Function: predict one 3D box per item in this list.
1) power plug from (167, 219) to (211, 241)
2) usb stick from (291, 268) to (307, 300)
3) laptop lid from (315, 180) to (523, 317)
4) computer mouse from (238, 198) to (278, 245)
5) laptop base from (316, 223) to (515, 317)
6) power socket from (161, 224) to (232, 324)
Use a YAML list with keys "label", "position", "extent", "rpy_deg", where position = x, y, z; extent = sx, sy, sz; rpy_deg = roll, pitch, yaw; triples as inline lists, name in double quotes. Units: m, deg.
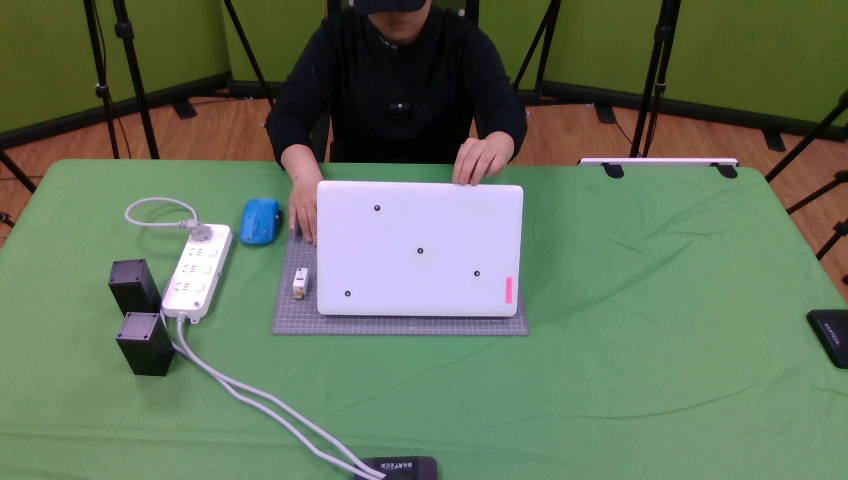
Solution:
- label: "power plug"
  position: [-0.438, -0.017, 1.143]
  extent: [0.072, 0.053, 0.035]
  rpy_deg: [10, 43, 7]
- label: "usb stick"
  position: [-0.227, 0.081, 1.094]
  extent: [0.021, 0.027, 0.059]
  rpy_deg: [4, 48, -2]
- label: "laptop lid"
  position: [-0.009, 0.017, 1.038]
  extent: [0.357, 0.242, 0.013]
  rpy_deg: [3, 9, -3]
- label: "computer mouse"
  position: [-0.328, -0.040, 1.200]
  extent: [0.063, 0.041, 0.116]
  rpy_deg: [3, 50, -4]
- label: "laptop base"
  position: [-0.016, 0.054, 1.145]
  extent: [0.354, 0.023, 0.234]
  rpy_deg: [1, 42, -3]
- label: "power socket"
  position: [-0.412, 0.052, 1.107]
  extent: [0.072, 0.033, 0.225]
  rpy_deg: [4, 46, -2]
